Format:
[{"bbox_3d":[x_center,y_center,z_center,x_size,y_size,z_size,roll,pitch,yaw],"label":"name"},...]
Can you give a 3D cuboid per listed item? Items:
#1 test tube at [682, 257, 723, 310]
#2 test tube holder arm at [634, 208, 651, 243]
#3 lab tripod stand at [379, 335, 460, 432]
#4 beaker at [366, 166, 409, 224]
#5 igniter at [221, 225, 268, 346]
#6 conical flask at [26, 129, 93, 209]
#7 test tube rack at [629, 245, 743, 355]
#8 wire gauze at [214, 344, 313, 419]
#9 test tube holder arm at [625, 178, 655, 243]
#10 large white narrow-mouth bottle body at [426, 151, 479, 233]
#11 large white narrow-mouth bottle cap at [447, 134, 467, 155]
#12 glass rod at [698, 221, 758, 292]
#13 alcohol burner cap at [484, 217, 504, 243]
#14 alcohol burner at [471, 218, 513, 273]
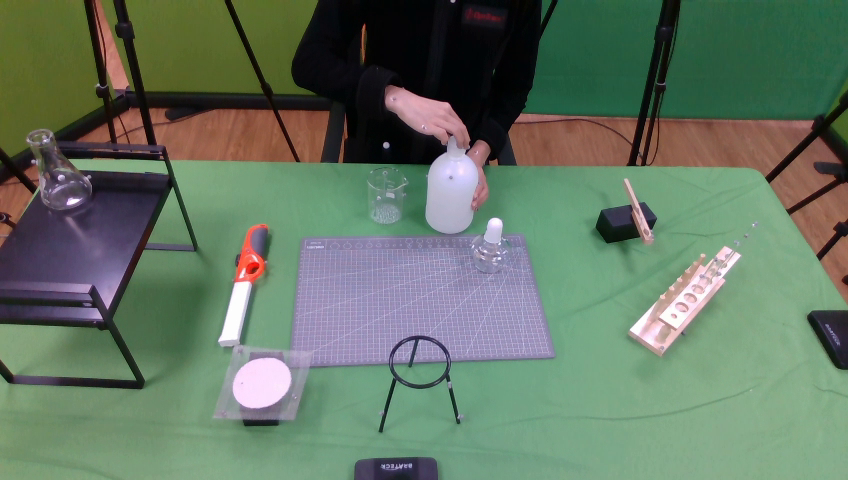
[{"bbox_3d":[0.475,0.080,1.037,0.017,0.151,0.017,1,50,-1],"label":"test tube"},{"bbox_3d":[0.428,-0.030,1.189,0.010,0.015,0.087,1,47,-2],"label":"test tube holder arm"},{"bbox_3d":[-0.011,0.214,0.911,0.148,0.132,0.147,1,45,0],"label":"lab tripod stand"},{"bbox_3d":[-0.074,-0.088,1.222,0.084,0.101,0.073,4,46,-1],"label":"beaker"},{"bbox_3d":[-0.323,0.072,1.100,0.057,0.025,0.274,-6,45,5],"label":"igniter"},{"bbox_3d":[-0.575,-0.113,0.946,0.075,0.122,0.075,2,46,-2],"label":"conical flask"},{"bbox_3d":[0.474,0.095,1.091,0.242,0.085,0.066,-34,56,-31],"label":"test tube rack"},{"bbox_3d":[-0.241,0.213,0.916,0.121,0.011,0.124,5,46,1],"label":"wire gauze"},{"bbox_3d":[0.433,-0.062,1.220,0.013,0.015,0.177,1,47,-3],"label":"test tube holder arm"},{"bbox_3d":[0.057,-0.111,1.187,0.102,0.195,0.101,2,46,-2],"label":"large white narrow-mouth bottle body"},{"bbox_3d":[0.062,-0.176,1.117,0.038,0.024,0.037,2,46,-2],"label":"large white narrow-mouth bottle cap"},{"bbox_3d":[0.527,0.035,1.060,0.008,0.200,0.008,5,49,-6],"label":"glass rod"},{"bbox_3d":[0.130,-0.021,1.107,0.034,0.048,0.033,4,41,-3],"label":"alcohol burner cap"},{"bbox_3d":[0.128,0.005,1.132,0.078,0.120,0.077,0,47,0],"label":"alcohol burner"}]
